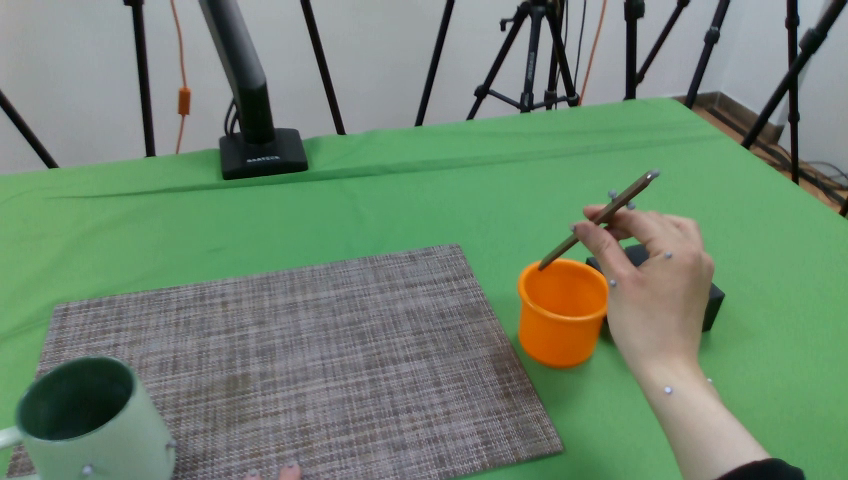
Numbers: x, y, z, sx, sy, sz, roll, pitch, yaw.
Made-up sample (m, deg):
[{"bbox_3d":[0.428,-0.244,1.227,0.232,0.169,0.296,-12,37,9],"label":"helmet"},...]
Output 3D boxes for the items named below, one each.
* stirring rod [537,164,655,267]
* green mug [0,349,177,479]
[{"bbox_3d":[0.129,-0.013,0.480,0.006,0.177,0.014,27,64,-3],"label":"stirring rod"},{"bbox_3d":[-0.258,0.151,0.450,0.125,0.106,0.091,-16,41,-21],"label":"green mug"}]
